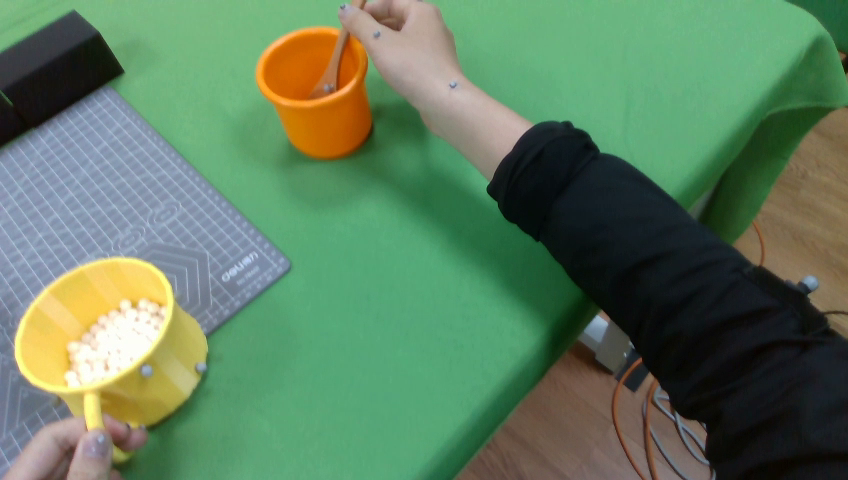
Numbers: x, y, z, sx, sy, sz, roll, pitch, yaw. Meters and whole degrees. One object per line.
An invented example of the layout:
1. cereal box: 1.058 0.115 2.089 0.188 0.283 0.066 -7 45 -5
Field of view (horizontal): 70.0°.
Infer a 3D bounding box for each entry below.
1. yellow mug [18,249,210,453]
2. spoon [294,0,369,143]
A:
1. yellow mug: -0.202 0.076 0.403 0.100 0.064 0.129 -14 54 -6
2. spoon: -0.062 -0.169 0.503 0.041 0.194 0.022 36 24 20
